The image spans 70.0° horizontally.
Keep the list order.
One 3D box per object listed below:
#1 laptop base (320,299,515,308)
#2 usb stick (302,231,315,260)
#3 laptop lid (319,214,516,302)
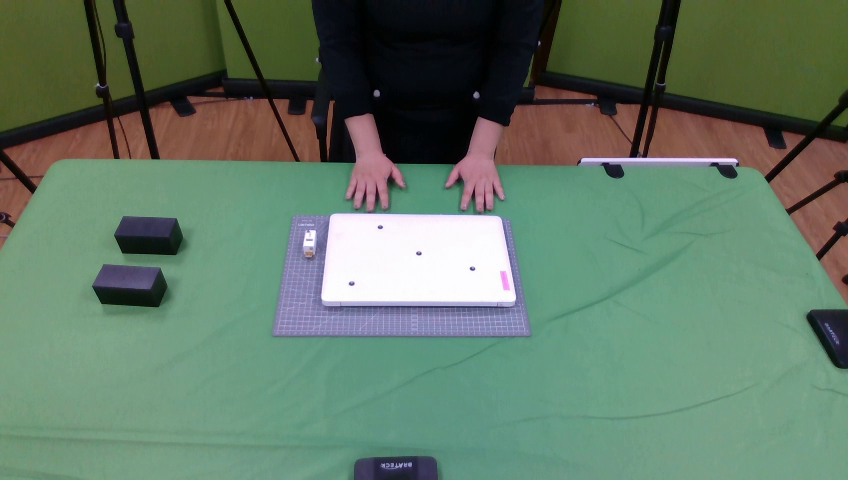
[{"bbox_3d":[-0.013,0.039,1.160,0.355,0.023,0.234,0,43,-4],"label":"laptop base"},{"bbox_3d":[-0.223,0.011,1.163,0.021,0.027,0.059,3,48,-6],"label":"usb stick"},{"bbox_3d":[-0.013,0.029,1.154,0.357,0.013,0.240,2,43,-3],"label":"laptop lid"}]
